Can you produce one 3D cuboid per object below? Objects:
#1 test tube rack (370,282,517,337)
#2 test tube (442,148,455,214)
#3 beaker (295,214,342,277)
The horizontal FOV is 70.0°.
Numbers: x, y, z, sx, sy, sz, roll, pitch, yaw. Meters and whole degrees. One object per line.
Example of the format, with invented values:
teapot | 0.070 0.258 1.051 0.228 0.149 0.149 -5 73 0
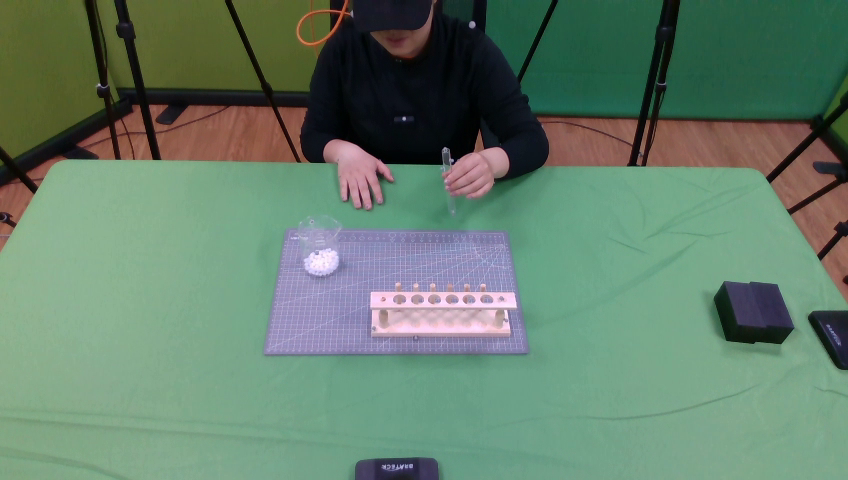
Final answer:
test tube rack | 0.030 0.116 1.042 0.242 0.085 0.066 1 46 -4
test tube | 0.048 -0.111 1.167 0.017 0.151 0.017 -5 40 4
beaker | -0.191 0.013 1.114 0.084 0.101 0.073 -12 49 -17
